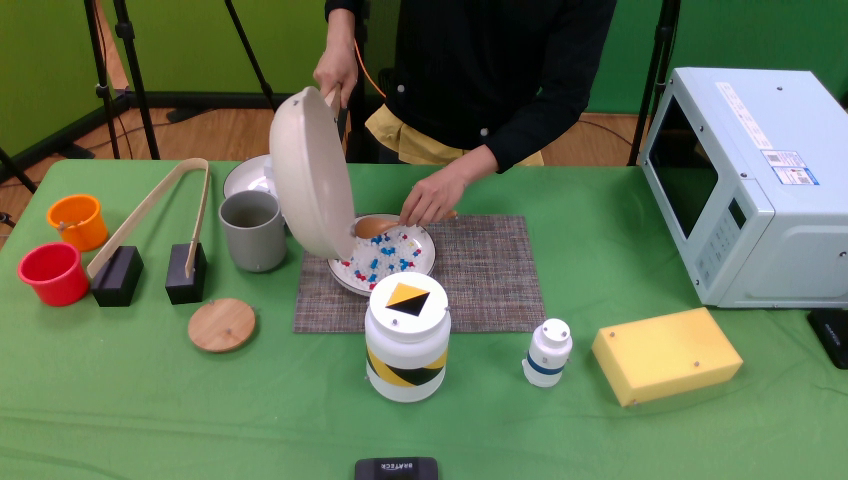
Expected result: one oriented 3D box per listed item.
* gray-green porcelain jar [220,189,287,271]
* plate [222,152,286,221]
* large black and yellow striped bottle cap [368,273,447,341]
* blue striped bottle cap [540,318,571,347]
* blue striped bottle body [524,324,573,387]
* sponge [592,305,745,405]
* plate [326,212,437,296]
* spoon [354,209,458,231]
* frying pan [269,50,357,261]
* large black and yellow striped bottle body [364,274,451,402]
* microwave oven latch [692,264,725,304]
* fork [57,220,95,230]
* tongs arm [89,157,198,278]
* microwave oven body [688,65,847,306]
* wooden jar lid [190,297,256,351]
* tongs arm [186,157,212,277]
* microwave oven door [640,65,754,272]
[{"bbox_3d":[-0.309,-0.014,1.113,0.106,0.127,0.105,2,46,-2],"label":"gray-green porcelain jar"},{"bbox_3d":[-0.310,-0.106,1.263,0.208,0.039,0.206,2,47,-2],"label":"plate"},{"bbox_3d":[-0.023,0.094,0.875,0.115,0.019,0.114,2,45,-2],"label":"large black and yellow striped bottle cap"},{"bbox_3d":[0.203,0.142,0.933,0.044,0.021,0.044,3,49,-4],"label":"blue striped bottle cap"},{"bbox_3d":[0.200,0.178,0.970,0.063,0.121,0.062,2,46,-2],"label":"blue striped bottle body"},{"bbox_3d":[0.405,0.190,1.014,0.207,0.061,0.117,-10,48,-13],"label":"sponge"},{"bbox_3d":[-0.080,0.030,1.143,0.209,0.038,0.208,2,46,-2],"label":"plate"},{"bbox_3d":[-0.030,-0.043,1.094,0.194,0.022,0.041,-6,69,-21],"label":"spoon"},{"bbox_3d":[-0.174,-0.184,1.072,0.103,0.308,0.485,-3,50,10],"label":"frying pan"},{"bbox_3d":[-0.026,0.151,0.937,0.131,0.185,0.130,2,47,-2],"label":"large black and yellow striped bottle body"},{"bbox_3d":[0.522,0.081,1.116,0.030,0.029,0.078,1,46,-2],"label":"microwave oven latch"},{"bbox_3d":[-0.624,-0.027,1.087,0.028,0.207,0.018,-3,92,-17],"label":"fork"},{"bbox_3d":[-0.529,-0.058,1.164,0.028,0.028,0.385,1,36,8],"label":"tongs arm"},{"bbox_3d":[0.669,-0.111,1.176,0.326,0.261,0.439,0,46,-3],"label":"microwave oven body"},{"bbox_3d":[-0.342,0.145,1.033,0.108,0.021,0.107,2,45,-2],"label":"wooden jar lid"},{"bbox_3d":[-0.445,-0.058,1.168,0.051,0.026,0.382,-5,37,-6],"label":"tongs arm"},{"bbox_3d":[0.523,-0.147,1.193,0.039,0.245,0.353,0,47,-3],"label":"microwave oven door"}]
